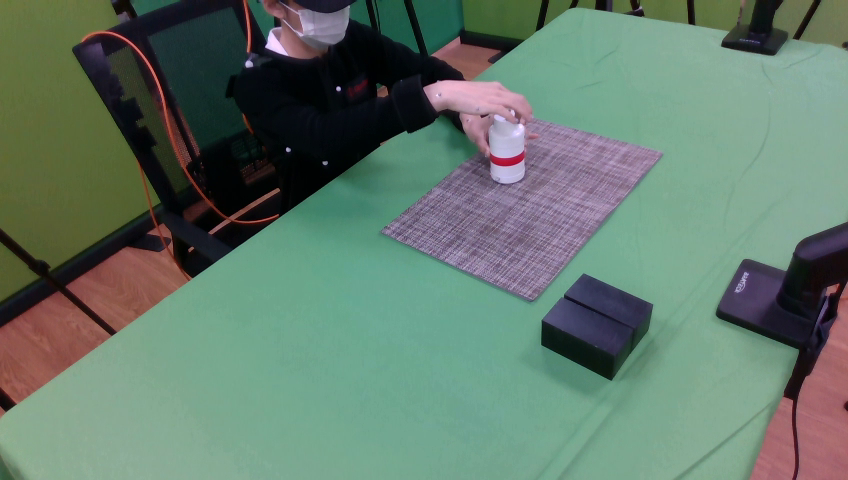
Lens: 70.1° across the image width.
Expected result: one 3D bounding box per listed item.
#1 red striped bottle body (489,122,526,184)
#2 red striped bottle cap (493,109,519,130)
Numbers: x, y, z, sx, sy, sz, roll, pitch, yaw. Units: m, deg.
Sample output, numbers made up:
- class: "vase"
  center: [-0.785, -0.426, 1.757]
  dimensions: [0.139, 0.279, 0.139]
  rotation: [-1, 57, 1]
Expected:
- class: "red striped bottle body"
  center: [0.147, -0.164, 1.064]
  dimensions: [0.063, 0.120, 0.062]
  rotation: [-5, 39, 4]
- class: "red striped bottle cap"
  center: [0.140, -0.205, 1.030]
  dimensions: [0.044, 0.018, 0.044]
  rotation: [-1, 42, 1]
